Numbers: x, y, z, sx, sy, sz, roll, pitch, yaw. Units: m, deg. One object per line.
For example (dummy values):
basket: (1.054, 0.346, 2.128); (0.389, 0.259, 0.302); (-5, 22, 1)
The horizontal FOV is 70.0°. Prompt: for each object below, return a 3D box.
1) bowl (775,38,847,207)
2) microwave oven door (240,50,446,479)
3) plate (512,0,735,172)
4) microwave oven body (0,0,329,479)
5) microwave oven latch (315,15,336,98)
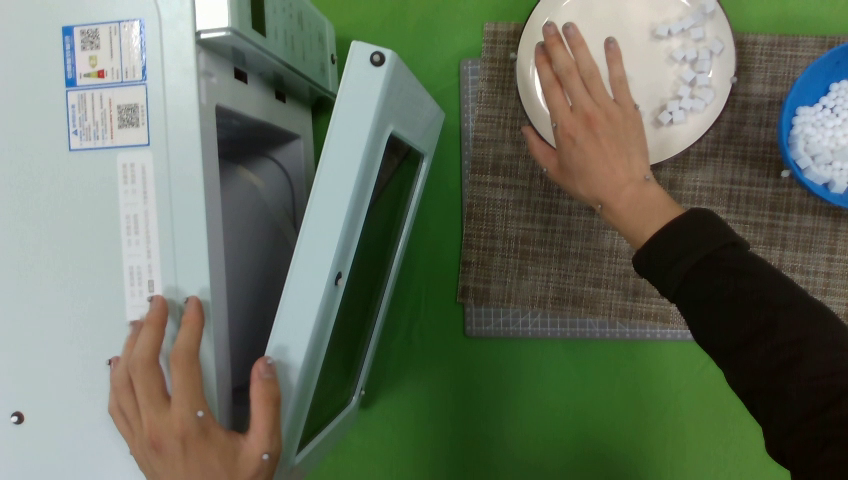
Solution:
bowl: (0.390, -0.101, 0.551); (0.151, 0.077, 0.151); (0, 92, 10)
microwave oven door: (-0.063, 0.036, 0.539); (0.039, 0.244, 0.356); (17, 95, 10)
plate: (0.193, -0.170, 0.602); (0.209, 0.038, 0.209); (0, 92, 9)
microwave oven body: (-0.265, -0.006, 0.576); (0.325, 0.260, 0.441); (-3, 93, 9)
microwave oven latch: (-0.111, -0.193, 0.639); (0.030, 0.029, 0.079); (-2, 93, 9)
